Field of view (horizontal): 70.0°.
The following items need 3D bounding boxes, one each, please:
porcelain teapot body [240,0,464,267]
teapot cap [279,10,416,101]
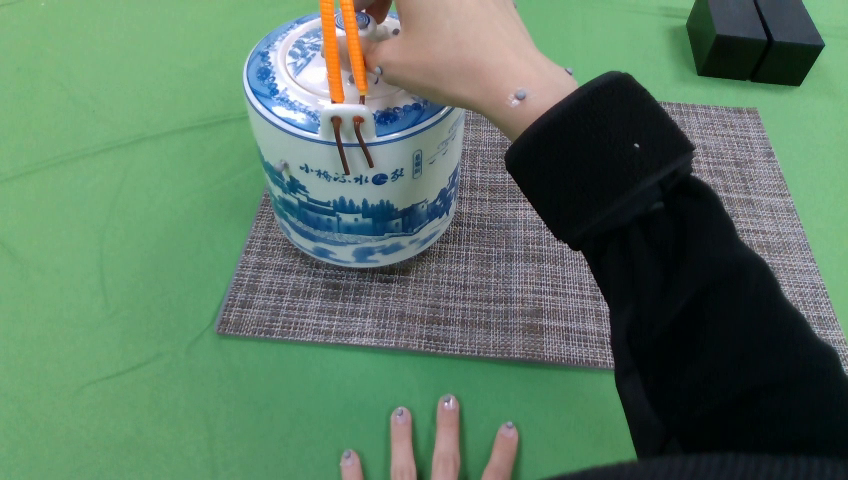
[{"bbox_3d":[-0.047,-0.116,0.427,0.145,0.227,0.203,0,51,-2],"label":"porcelain teapot body"},{"bbox_3d":[-0.047,-0.118,0.378,0.085,0.044,0.084,1,50,-1],"label":"teapot cap"}]
